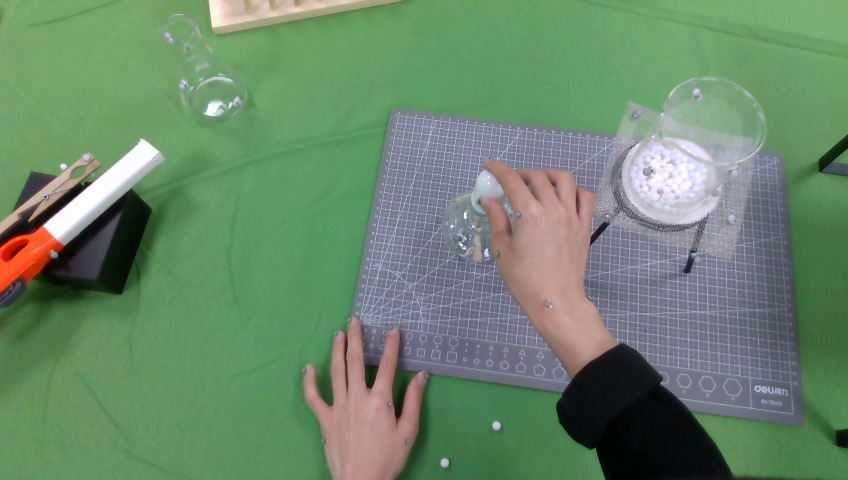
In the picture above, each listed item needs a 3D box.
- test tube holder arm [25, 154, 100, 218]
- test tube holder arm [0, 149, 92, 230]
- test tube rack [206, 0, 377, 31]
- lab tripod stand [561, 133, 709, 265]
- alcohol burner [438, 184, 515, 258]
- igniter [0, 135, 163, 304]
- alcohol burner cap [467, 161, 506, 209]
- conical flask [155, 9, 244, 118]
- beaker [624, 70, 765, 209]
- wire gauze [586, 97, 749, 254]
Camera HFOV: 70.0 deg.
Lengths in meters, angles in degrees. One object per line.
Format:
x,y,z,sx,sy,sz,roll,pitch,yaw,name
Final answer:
-0.365,-0.054,0.608,0.088,0.015,0.010,-44,105,-15,test tube holder arm
-0.400,-0.028,0.595,0.178,0.015,0.013,-44,105,-14,test tube holder arm
-0.152,-0.329,0.730,0.242,0.086,0.066,-12,69,-5,test tube rack
0.209,-0.031,0.588,0.148,0.132,0.147,1,68,-1,lab tripod stand
0.054,-0.027,0.597,0.078,0.120,0.077,1,67,-1,alcohol burner
-0.370,-0.001,0.586,0.057,0.025,0.276,36,72,22,igniter
0.057,-0.051,0.533,0.034,0.048,0.033,1,68,-2,alcohol burner cap
-0.249,-0.194,0.659,0.075,0.122,0.075,0,68,1,conical flask
0.204,-0.073,0.481,0.084,0.101,0.073,-15,70,-5,beaker
0.216,-0.058,0.527,0.121,0.011,0.124,21,69,5,wire gauze
